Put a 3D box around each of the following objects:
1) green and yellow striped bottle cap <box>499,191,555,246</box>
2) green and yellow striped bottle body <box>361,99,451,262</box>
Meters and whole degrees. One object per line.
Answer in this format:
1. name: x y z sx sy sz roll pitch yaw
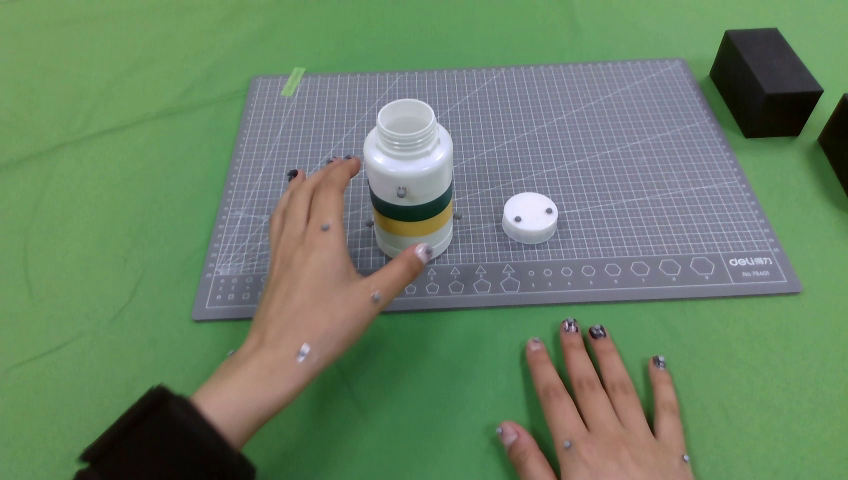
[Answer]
1. green and yellow striped bottle cap: 0.083 -0.018 0.489 0.045 0.020 0.045 0 52 1
2. green and yellow striped bottle body: -0.012 -0.043 0.443 0.063 0.121 0.062 -1 50 2
